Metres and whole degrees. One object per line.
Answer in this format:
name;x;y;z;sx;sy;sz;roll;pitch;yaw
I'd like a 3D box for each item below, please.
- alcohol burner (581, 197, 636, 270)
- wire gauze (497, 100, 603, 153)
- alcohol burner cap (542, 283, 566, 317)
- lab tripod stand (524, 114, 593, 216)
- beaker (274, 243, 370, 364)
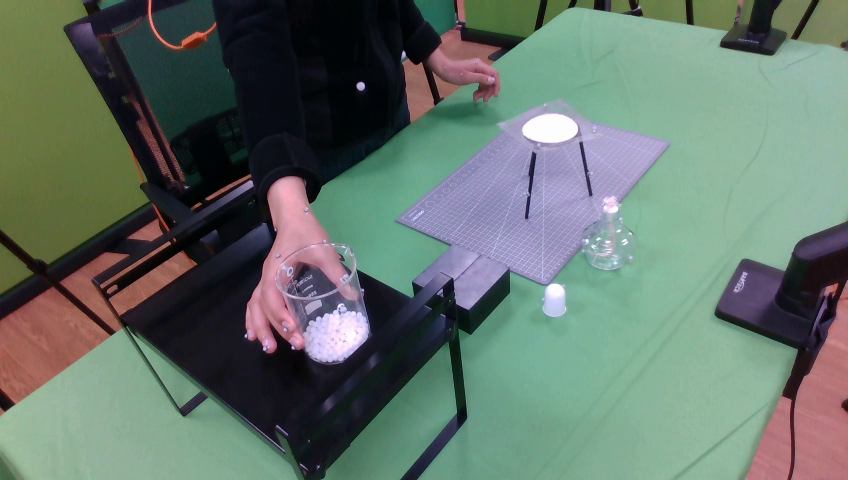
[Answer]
alcohol burner;0.270;-0.015;0.881;0.078;0.119;0.077;-5;42;5
wire gauze;0.199;-0.180;0.961;0.125;0.011;0.120;-20;43;-13
alcohol burner cap;0.181;0.081;0.840;0.034;0.048;0.033;-4;41;4
lab tripod stand;0.210;-0.127;1.001;0.148;0.132;0.147;-4;43;4
beaker;-0.092;0.062;0.580;0.073;0.101;0.084;21;48;29
